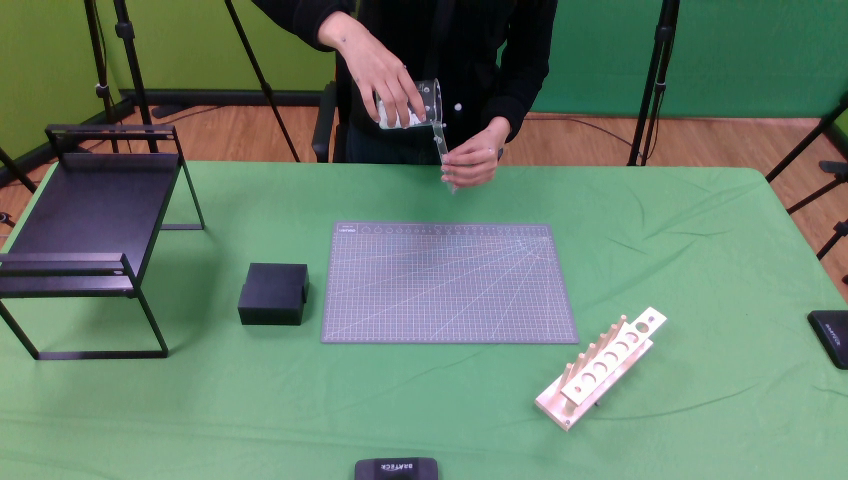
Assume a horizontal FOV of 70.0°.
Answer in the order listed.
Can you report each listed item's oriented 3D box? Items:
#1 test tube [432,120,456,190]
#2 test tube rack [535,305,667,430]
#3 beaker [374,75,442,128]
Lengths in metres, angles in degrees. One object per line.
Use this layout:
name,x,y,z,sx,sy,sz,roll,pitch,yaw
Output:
test tube,0.036,-0.143,1.046,0.017,0.151,0.017,-8,46,9
test tube rack,0.290,0.193,0.984,0.242,0.085,0.066,-32,56,-30
beaker,-0.026,-0.215,0.962,0.100,0.084,0.073,-6,43,-5
